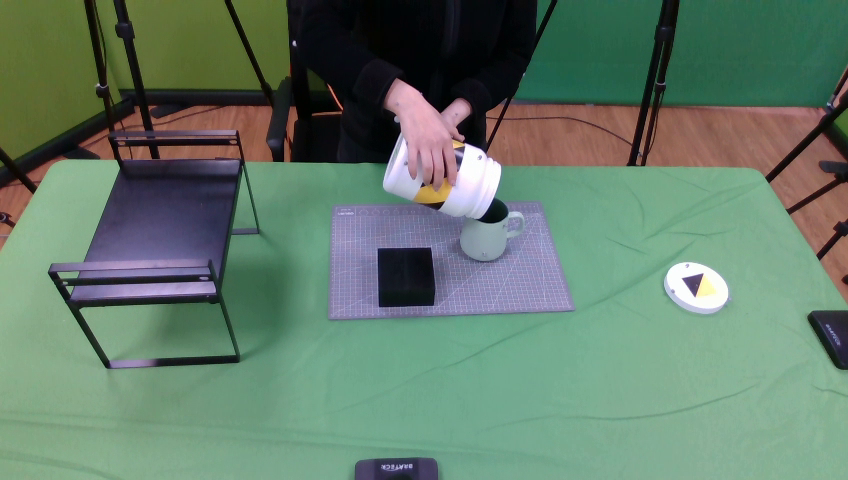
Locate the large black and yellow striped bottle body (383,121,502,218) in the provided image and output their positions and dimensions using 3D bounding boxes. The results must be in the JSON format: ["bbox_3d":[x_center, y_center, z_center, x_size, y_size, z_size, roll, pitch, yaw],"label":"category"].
[{"bbox_3d":[0.033,-0.120,1.074,0.184,0.131,0.130,20,46,-11],"label":"large black and yellow striped bottle body"}]

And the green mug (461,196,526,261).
[{"bbox_3d":[0.136,-0.024,1.168,0.125,0.105,0.092,-7,47,-10],"label":"green mug"}]

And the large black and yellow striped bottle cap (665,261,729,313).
[{"bbox_3d":[0.518,0.087,1.152,0.115,0.019,0.114,2,47,-2],"label":"large black and yellow striped bottle cap"}]
